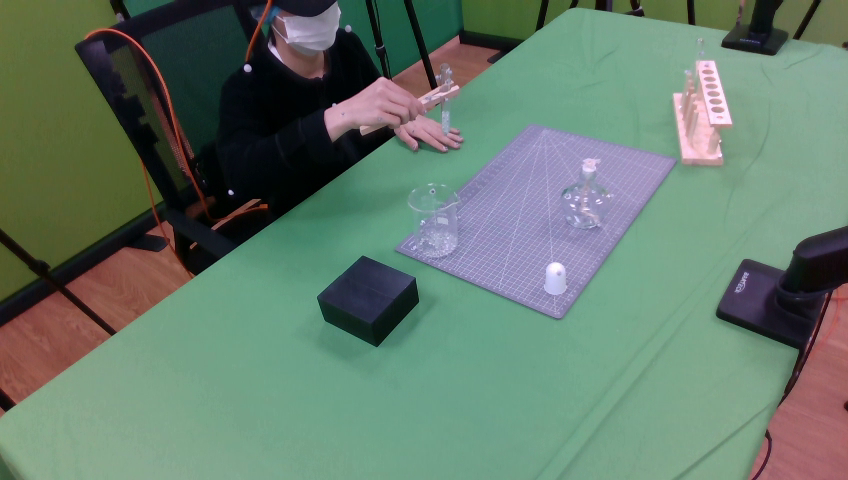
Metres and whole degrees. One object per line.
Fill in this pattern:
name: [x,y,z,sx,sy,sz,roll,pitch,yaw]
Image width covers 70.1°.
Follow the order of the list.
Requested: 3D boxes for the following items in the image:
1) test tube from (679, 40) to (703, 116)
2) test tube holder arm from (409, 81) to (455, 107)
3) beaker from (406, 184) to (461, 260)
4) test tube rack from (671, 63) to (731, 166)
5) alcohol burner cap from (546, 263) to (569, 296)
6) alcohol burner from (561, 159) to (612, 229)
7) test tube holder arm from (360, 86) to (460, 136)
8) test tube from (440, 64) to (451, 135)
test tube: [0.502,-0.303,1.138,0.017,0.151,0.017,-3,40,3]
test tube holder arm: [0.013,-0.230,0.973,0.088,0.015,0.010,-35,59,-21]
beaker: [0.019,-0.026,0.939,0.084,0.101,0.074,1,41,9]
test tube rack: [0.513,-0.241,1.132,0.066,0.085,0.242,4,41,14]
alcohol burner cap: [0.191,0.053,0.862,0.034,0.048,0.033,-5,40,4]
alcohol burner: [0.257,-0.077,0.951,0.078,0.119,0.077,-3,40,3]
test tube holder arm: [-0.021,-0.205,0.956,0.179,0.015,0.013,-28,56,-17]
test tube: [0.036,-0.227,0.996,0.017,0.151,0.017,-1,58,2]
